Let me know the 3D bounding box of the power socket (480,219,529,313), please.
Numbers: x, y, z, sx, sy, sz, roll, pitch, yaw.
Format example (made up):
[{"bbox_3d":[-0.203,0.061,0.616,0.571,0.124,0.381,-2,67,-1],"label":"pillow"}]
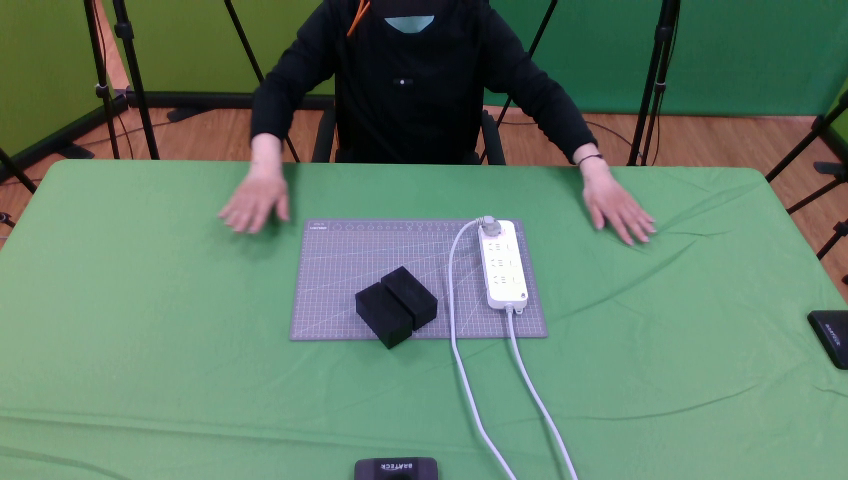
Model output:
[{"bbox_3d":[0.150,0.040,1.152,0.072,0.033,0.225,0,47,-3],"label":"power socket"}]

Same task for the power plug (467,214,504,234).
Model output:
[{"bbox_3d":[0.120,-0.030,1.185,0.072,0.053,0.035,8,47,5],"label":"power plug"}]
